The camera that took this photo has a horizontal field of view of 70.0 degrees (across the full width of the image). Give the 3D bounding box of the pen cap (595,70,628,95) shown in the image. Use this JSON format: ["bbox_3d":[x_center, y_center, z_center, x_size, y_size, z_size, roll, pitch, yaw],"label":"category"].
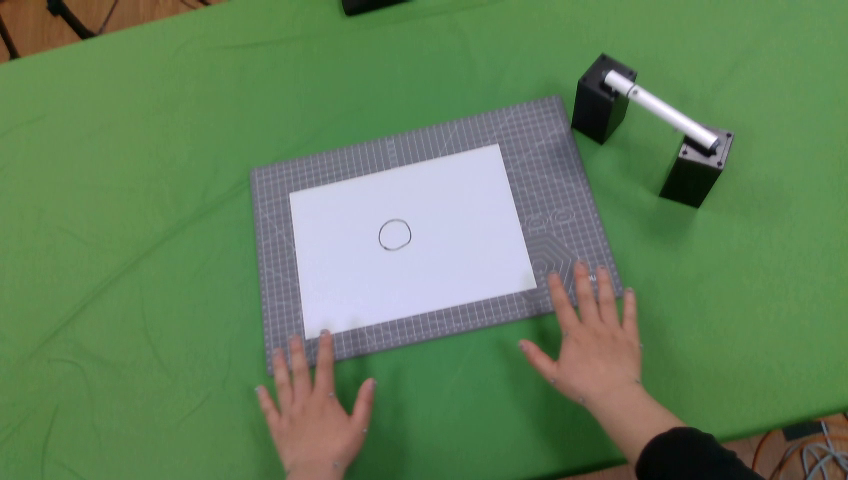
[{"bbox_3d":[0.221,-0.187,0.717,0.038,0.017,0.017,38,78,21],"label":"pen cap"}]

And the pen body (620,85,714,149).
[{"bbox_3d":[0.266,-0.148,0.696,0.143,0.017,0.017,40,79,20],"label":"pen body"}]
